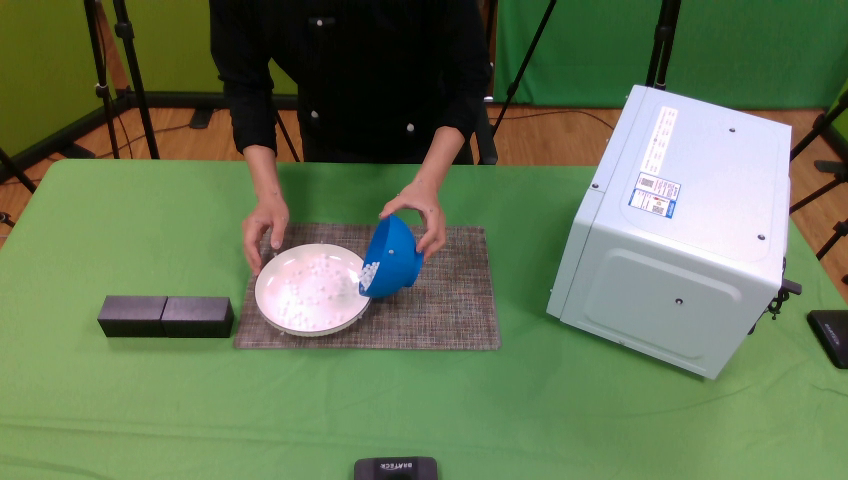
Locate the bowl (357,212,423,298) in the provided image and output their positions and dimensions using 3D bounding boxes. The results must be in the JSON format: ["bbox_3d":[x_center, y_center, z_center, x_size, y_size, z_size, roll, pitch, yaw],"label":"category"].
[{"bbox_3d":[-0.052,0.035,1.034,0.077,0.152,0.150,19,44,-15],"label":"bowl"}]

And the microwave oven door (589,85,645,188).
[{"bbox_3d":[0.342,-0.107,1.148,0.039,0.245,0.354,20,48,15],"label":"microwave oven door"}]

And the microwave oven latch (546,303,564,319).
[{"bbox_3d":[0.242,0.102,1.081,0.030,0.029,0.079,21,48,17],"label":"microwave oven latch"}]

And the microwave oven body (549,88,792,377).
[{"bbox_3d":[0.456,-0.028,1.087,0.325,0.261,0.440,20,47,16],"label":"microwave oven body"}]

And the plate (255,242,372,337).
[{"bbox_3d":[-0.192,0.090,1.080,0.208,0.039,0.206,2,46,-2],"label":"plate"}]
